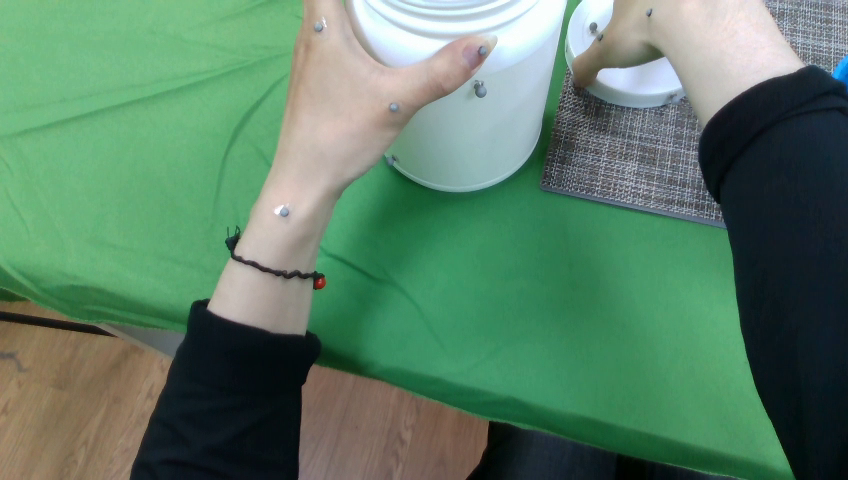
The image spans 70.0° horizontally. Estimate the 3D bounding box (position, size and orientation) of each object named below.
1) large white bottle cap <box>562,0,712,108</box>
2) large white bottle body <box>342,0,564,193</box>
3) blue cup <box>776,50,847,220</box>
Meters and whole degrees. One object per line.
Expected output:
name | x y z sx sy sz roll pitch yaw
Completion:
large white bottle cap | 0.169 -0.158 0.485 0.115 0.018 0.114 -1 69 4
large white bottle body | 0.019 -0.128 0.396 0.130 0.186 0.129 -1 67 3
blue cup | 0.282 -0.061 0.394 0.092 0.101 0.092 -2 65 4
